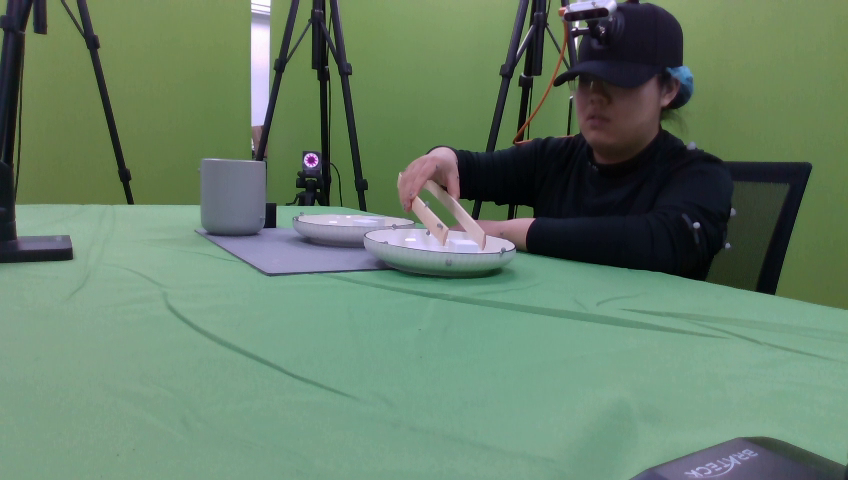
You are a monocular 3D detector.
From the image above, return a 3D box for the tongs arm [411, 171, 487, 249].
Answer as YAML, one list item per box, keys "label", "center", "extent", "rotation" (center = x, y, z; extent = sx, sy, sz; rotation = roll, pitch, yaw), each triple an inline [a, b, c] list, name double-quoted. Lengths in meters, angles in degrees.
- label: "tongs arm"
  center: [0.034, -0.057, 0.964]
  extent: [0.028, 0.028, 0.386]
  rotation: [0, 18, -14]

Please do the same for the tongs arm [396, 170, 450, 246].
- label: "tongs arm"
  center: [0.002, -0.060, 0.956]
  extent: [0.051, 0.026, 0.383]
  rotation: [3, 17, -16]

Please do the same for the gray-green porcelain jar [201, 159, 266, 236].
- label: "gray-green porcelain jar"
  center: [-0.326, -0.073, 1.036]
  extent: [0.106, 0.126, 0.106]
  rotation: [3, 8, 0]

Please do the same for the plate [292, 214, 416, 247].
- label: "plate"
  center: [-0.118, -0.017, 1.024]
  extent: [0.208, 0.039, 0.207]
  rotation: [3, 7, 0]

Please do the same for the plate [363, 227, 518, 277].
- label: "plate"
  center: [0.021, 0.016, 0.817]
  extent: [0.209, 0.038, 0.209]
  rotation: [4, 9, 0]
